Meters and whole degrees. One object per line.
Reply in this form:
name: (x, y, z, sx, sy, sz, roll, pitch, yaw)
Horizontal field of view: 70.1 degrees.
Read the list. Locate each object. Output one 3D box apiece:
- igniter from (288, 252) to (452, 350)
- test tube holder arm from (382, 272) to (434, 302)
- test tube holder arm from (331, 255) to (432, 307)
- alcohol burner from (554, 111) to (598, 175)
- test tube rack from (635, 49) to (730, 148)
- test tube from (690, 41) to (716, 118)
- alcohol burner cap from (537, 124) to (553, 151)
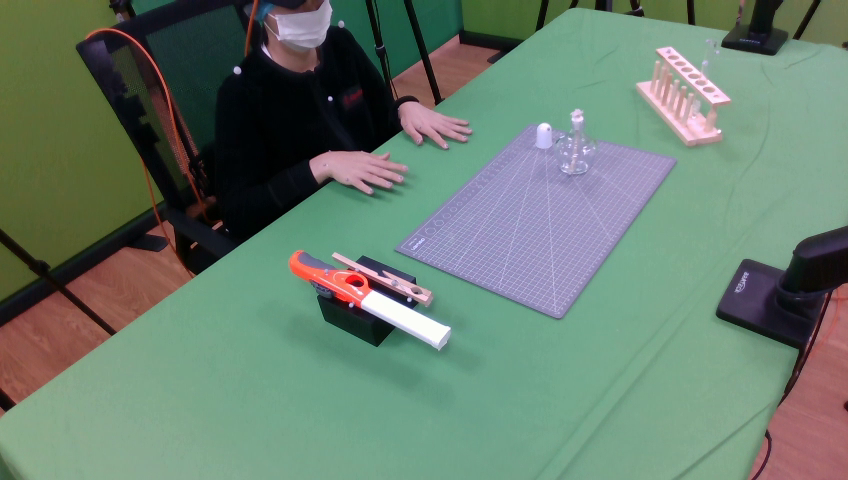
igniter: (-0.084, 0.077, 0.821, 0.274, 0.025, 0.057, 23, 48, 27)
test tube holder arm: (-0.024, 0.065, 0.829, 0.087, 0.015, 0.010, 21, 54, 30)
test tube holder arm: (-0.064, 0.055, 0.848, 0.177, 0.015, 0.013, 20, 54, 29)
alcohol burner: (0.270, -0.175, 1.066, 0.078, 0.119, 0.077, -4, 42, 4)
test tube rack: (0.497, -0.283, 1.185, 0.067, 0.085, 0.240, -10, 40, -2)
test tube: (0.514, -0.293, 1.117, 0.017, 0.151, 0.017, -3, 42, 3)
alcohol burner cap: (0.231, -0.199, 1.158, 0.034, 0.048, 0.033, -5, 40, 5)
